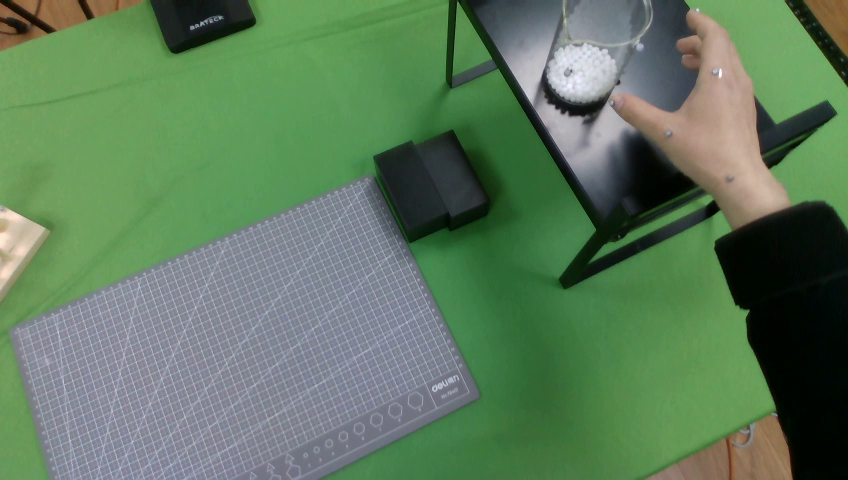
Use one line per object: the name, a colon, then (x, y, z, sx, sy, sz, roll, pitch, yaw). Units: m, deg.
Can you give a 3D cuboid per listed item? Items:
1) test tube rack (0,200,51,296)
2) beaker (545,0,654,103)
test tube rack: (-0.528, 0.059, 0.656, 0.066, 0.085, 0.241, 26, 74, 8)
beaker: (0.149, -0.174, 0.541, 0.084, 0.101, 0.073, -38, 76, -11)
